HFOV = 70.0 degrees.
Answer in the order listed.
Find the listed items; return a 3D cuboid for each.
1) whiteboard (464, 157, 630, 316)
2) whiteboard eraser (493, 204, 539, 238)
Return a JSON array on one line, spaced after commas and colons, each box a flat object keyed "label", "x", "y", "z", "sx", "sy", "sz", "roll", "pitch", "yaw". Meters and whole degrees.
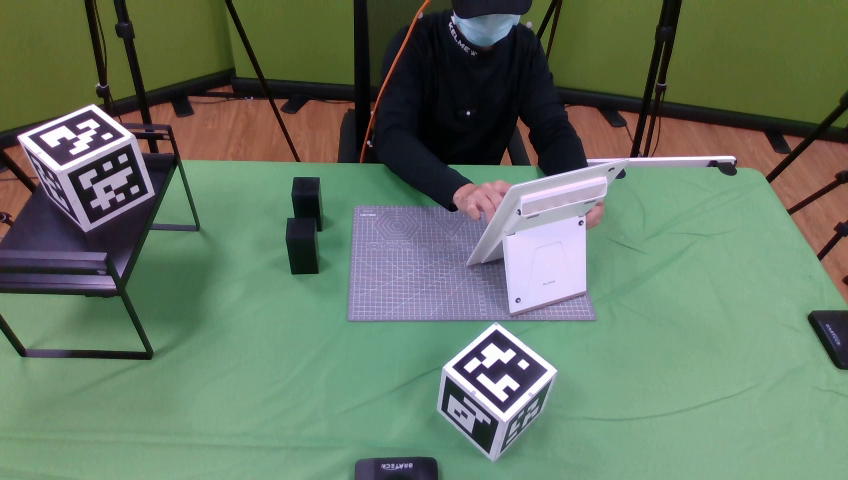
[{"label": "whiteboard", "x": 0.224, "y": 0.015, "z": 1.042, "sx": 0.217, "sy": 0.306, "sz": 0.143, "roll": -13, "pitch": 68, "yaw": -17}, {"label": "whiteboard eraser", "x": 0.164, "y": -0.035, "z": 1.082, "sx": 0.041, "sy": 0.101, "sz": 0.018, "roll": -2, "pitch": 64, "yaw": -39}]
